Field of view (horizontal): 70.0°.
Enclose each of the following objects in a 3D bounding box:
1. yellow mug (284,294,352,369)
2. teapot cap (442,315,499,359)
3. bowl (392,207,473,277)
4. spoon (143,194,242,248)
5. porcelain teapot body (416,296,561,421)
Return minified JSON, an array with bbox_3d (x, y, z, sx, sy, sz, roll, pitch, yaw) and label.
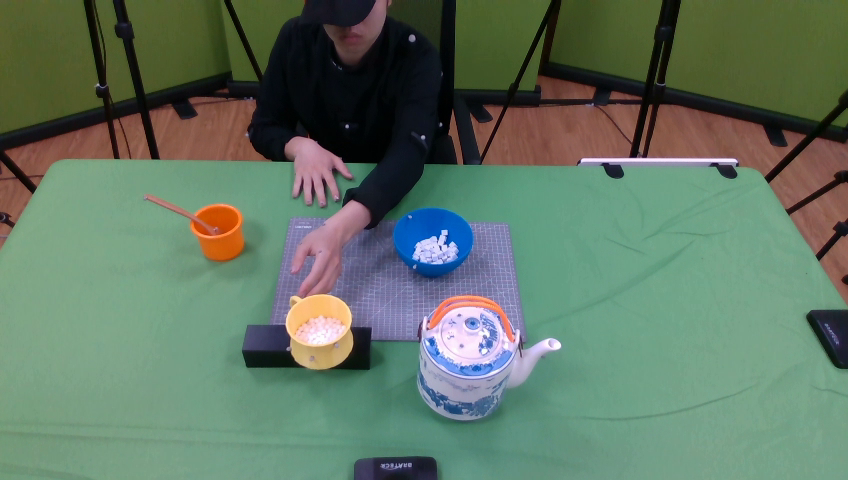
[{"bbox_3d":[-0.175,0.134,0.955,0.100,0.064,0.130,-33,56,-31],"label":"yellow mug"},{"bbox_3d":[0.068,0.133,0.880,0.085,0.044,0.084,4,45,-4],"label":"teapot cap"},{"bbox_3d":[0.014,0.016,1.140,0.151,0.077,0.150,2,46,-2],"label":"bowl"},{"bbox_3d":[-0.421,-0.036,1.113,0.021,0.195,0.041,-36,38,23],"label":"spoon"},{"bbox_3d":[0.094,0.164,0.907,0.205,0.226,0.144,6,45,1],"label":"porcelain teapot body"}]
